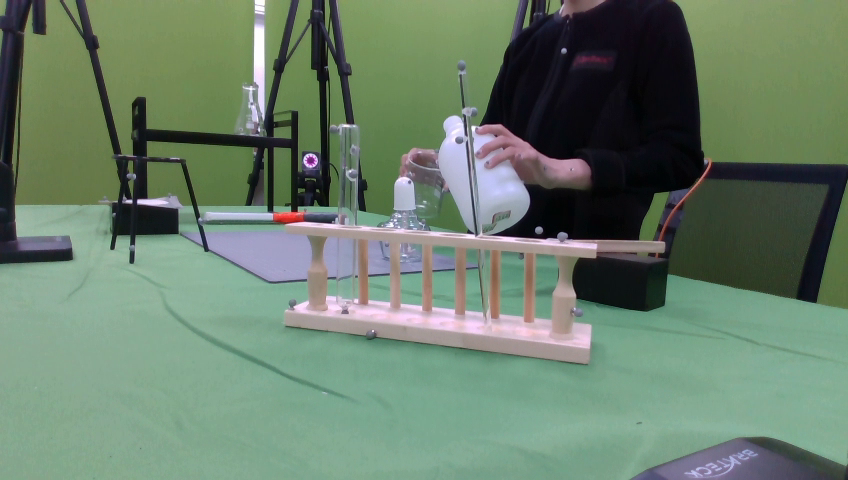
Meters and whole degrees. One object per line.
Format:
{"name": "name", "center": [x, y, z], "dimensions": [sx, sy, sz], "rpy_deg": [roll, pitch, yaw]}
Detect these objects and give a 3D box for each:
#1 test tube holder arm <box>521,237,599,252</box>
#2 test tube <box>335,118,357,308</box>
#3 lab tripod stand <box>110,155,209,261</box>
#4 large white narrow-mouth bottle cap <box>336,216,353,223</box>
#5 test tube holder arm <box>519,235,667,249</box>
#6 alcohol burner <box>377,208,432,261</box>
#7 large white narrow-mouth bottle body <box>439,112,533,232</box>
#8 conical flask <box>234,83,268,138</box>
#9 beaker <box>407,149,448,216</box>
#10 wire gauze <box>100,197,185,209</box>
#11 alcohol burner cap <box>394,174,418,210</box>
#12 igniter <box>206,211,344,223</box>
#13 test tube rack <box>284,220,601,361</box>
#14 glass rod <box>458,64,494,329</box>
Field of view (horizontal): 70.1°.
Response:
{"name": "test tube holder arm", "center": [0.144, 0.004, 0.635], "dimensions": [0.088, 0.015, 0.010], "rpy_deg": [0, 14, -19]}
{"name": "test tube", "center": [-0.061, -0.019, 0.476], "dimensions": [0.017, 0.150, 0.017], "rpy_deg": [2, 11, 0]}
{"name": "lab tripod stand", "center": [-0.361, -0.046, 0.806], "dimensions": [0.148, 0.131, 0.148], "rpy_deg": [2, 5, 0]}
{"name": "large white narrow-mouth bottle cap", "center": [-0.161, -0.037, 1.231], "dimensions": [0.038, 0.024, 0.037], "rpy_deg": [2, 8, 0]}
{"name": "test tube holder arm", "center": [0.186, 0.003, 0.655], "dimensions": [0.179, 0.015, 0.013], "rpy_deg": [0, 14, -18]}
{"name": "alcohol burner", "center": [-0.027, -0.031, 0.838], "dimensions": [0.078, 0.119, 0.078], "rpy_deg": [0, 6, 0]}
{"name": "large white narrow-mouth bottle body", "center": [0.079, -0.114, 0.904], "dimensions": [0.102, 0.194, 0.102], "rpy_deg": [-20, -28, -10]}
{"name": "conical flask", "center": [-0.400, -0.298, 1.396], "dimensions": [0.075, 0.122, 0.075], "rpy_deg": [2, 8, 0]}
{"name": "beaker", "center": [0.007, -0.097, 1.051], "dimensions": [0.083, 0.100, 0.074], "rpy_deg": [28, 36, 29]}
{"name": "wire gauze", "center": [-0.469, -0.062, 1.008], "dimensions": [0.126, 0.011, 0.121], "rpy_deg": [-2, 8, -25]}
{"name": "alcohol burner cap", "center": [-0.026, -0.067, 0.834], "dimensions": [0.034, 0.048, 0.034], "rpy_deg": [-1, 12, 1]}
{"name": "igniter", "center": [-0.302, -0.048, 1.249], "dimensions": [0.278, 0.025, 0.057], "rpy_deg": [-2, -2, -27]}
{"name": "test tube rack", "center": [0.013, 0.032, 0.482], "dimensions": [0.242, 0.085, 0.067], "rpy_deg": [4, 7, 16]}
{"name": "glass rod", "center": [0.040, -0.029, 0.450], "dimensions": [0.008, 0.199, 0.008], "rpy_deg": [-7, 9, 1]}
